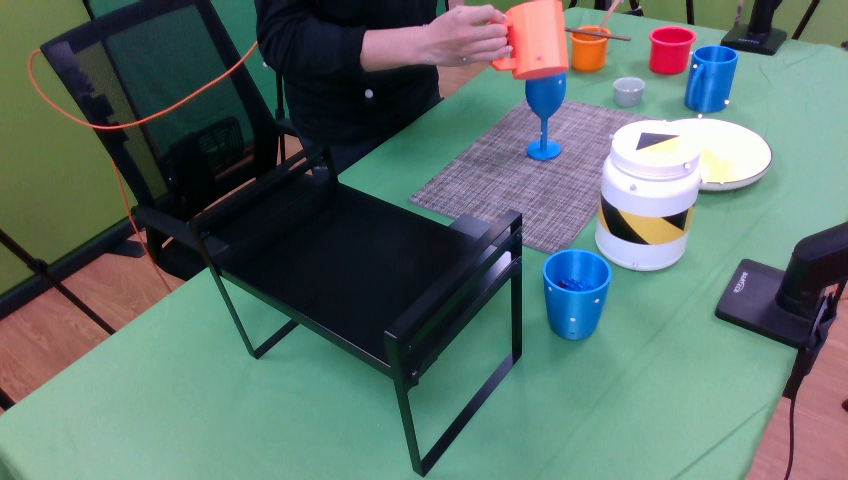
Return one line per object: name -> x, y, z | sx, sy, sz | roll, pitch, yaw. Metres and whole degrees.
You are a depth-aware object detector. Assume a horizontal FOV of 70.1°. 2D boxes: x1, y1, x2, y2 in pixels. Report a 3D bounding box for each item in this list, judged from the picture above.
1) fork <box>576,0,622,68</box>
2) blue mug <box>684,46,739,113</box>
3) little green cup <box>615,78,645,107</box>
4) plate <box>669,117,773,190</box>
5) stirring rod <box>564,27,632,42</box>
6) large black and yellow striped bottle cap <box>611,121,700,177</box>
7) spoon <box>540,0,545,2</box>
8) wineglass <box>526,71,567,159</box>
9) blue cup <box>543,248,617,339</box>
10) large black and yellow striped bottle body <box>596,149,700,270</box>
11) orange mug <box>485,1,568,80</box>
fork -> 0.409, -0.484, 1.381 | 0.028, 0.019, 0.207 | 37, 101, 45
blue mug -> 0.556, -0.310, 1.190 | 0.117, 0.106, 0.081 | -32, 46, -25
little green cup -> 0.426, -0.306, 1.257 | 0.061, 0.039, 0.061 | -4, 40, 4
plate -> 0.495, -0.148, 1.063 | 0.209, 0.038, 0.208 | -5, 40, 4
stirring rod -> 0.381, -0.463, 1.356 | 0.175, 0.006, 0.014 | 21, 48, 30
large black and yellow striped bottle cap -> 0.315, -0.126, 0.823 | 0.115, 0.019, 0.114 | -4, 42, 4
spoon -> 0.201, -0.477, 0.964 | 0.022, 0.193, 0.041 | 1, 2, -9
wineglass -> 0.221, -0.237, 1.097 | 0.074, 0.173, 0.073 | -5, 41, 4
blue cup -> 0.199, 0.076, 0.797 | 0.092, 0.100, 0.092 | -4, 39, 4
large black and yellow striped bottle body -> 0.323, -0.062, 0.877 | 0.131, 0.185, 0.130 | -5, 40, 4
orange mug -> 0.156, -0.301, 0.919 | 0.127, 0.101, 0.083 | -4, 4, -16
